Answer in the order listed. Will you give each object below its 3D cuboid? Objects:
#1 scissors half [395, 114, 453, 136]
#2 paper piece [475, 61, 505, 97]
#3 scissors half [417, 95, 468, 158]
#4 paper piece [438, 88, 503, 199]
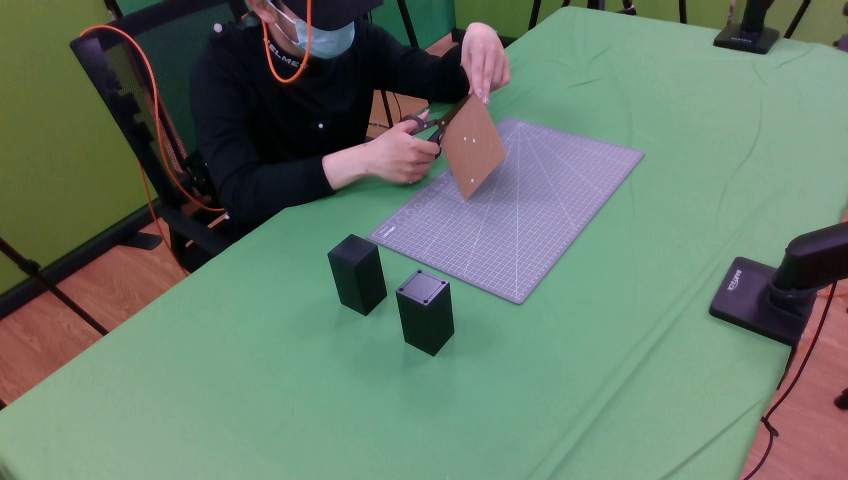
[{"bbox_3d":[0.018,-0.214,1.058,0.174,0.040,0.013,-7,45,34],"label":"scissors half"},{"bbox_3d":[0.088,-0.254,1.091,0.008,0.135,0.138,43,46,-4],"label":"paper piece"},{"bbox_3d":[0.035,-0.198,1.066,0.040,0.175,0.013,32,52,-6],"label":"scissors half"},{"bbox_3d":[0.074,-0.159,1.013,0.004,0.135,0.135,-8,65,-31],"label":"paper piece"}]
